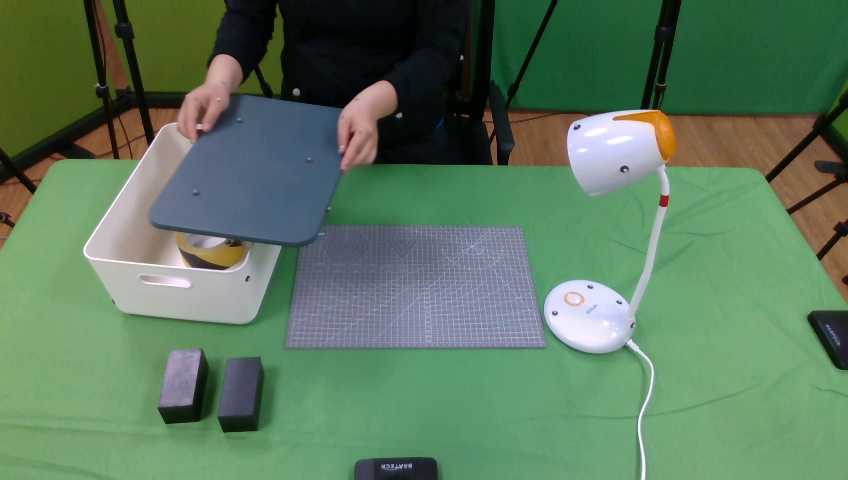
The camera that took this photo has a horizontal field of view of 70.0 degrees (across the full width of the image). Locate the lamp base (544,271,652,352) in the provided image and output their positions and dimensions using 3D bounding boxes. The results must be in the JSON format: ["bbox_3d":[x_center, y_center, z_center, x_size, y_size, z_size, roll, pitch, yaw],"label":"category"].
[{"bbox_3d":[0.310,0.086,1.029,0.178,0.181,0.160,32,52,21],"label":"lamp base"}]

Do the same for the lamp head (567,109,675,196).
[{"bbox_3d":[0.272,-0.123,0.818,0.122,0.113,0.112,-9,35,37],"label":"lamp head"}]

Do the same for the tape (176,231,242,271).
[{"bbox_3d":[-0.401,0.005,1.133,0.117,0.053,0.116,2,46,-2],"label":"tape"}]

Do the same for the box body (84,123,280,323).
[{"bbox_3d":[-0.393,-0.036,1.104,0.254,0.161,0.362,5,46,1],"label":"box body"}]

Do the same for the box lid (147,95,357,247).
[{"bbox_3d":[-0.275,-0.131,1.034,0.263,0.015,0.369,8,45,3],"label":"box lid"}]
